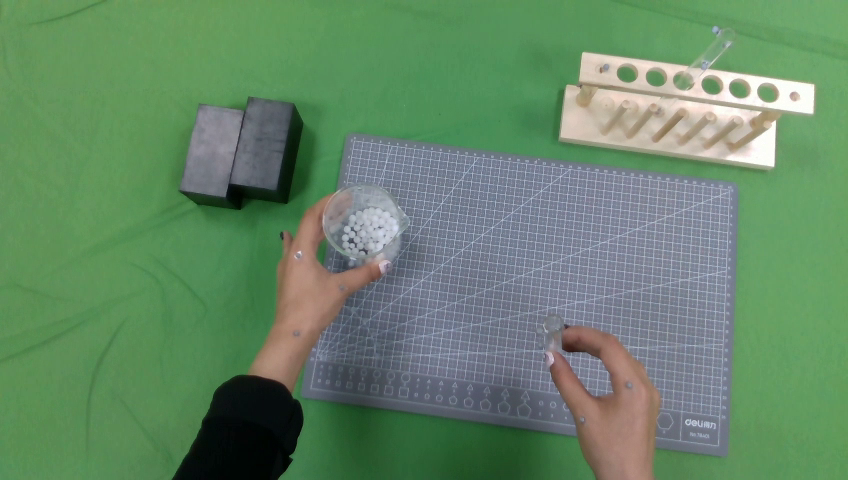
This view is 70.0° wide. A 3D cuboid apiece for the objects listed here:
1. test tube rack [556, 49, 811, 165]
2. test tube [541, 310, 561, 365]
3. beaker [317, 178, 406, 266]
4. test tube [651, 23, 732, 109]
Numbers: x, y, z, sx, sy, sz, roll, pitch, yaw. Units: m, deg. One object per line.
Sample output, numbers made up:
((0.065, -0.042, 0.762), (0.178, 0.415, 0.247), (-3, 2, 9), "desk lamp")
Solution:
((0.276, -0.143, 0.663), (0.242, 0.085, 0.066), (8, 78, 2), "test tube rack")
((0.113, 0.090, 0.538), (0.017, 0.152, 0.017), (-4, 67, 10), "test tube")
((-0.059, -0.014, 0.615), (0.084, 0.100, 0.073), (0, 80, -1), "beaker")
((0.268, -0.172, 0.619), (0.017, 0.151, 0.017), (1, 76, -3), "test tube")
